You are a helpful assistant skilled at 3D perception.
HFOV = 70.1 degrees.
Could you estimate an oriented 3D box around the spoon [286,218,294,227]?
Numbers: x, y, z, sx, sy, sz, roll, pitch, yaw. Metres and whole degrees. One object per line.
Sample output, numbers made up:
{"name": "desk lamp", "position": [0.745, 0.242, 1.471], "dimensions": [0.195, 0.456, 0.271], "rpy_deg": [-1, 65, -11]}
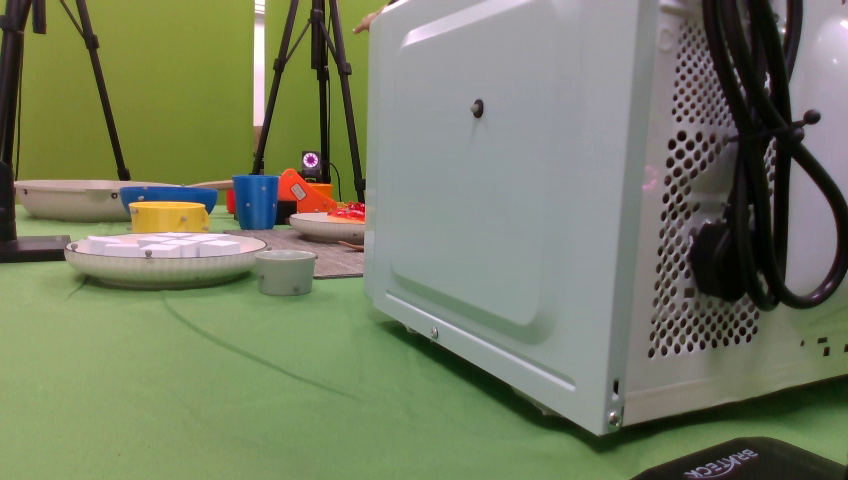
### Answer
{"name": "spoon", "position": [-0.180, -0.037, 1.209], "dimensions": [0.195, 0.021, 0.041], "rpy_deg": [-4, -14, -32]}

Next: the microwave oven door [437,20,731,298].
{"name": "microwave oven door", "position": [0.181, -0.076, 0.618], "dimensions": [0.358, 0.243, 0.039], "rpy_deg": [-2, 9, -28]}

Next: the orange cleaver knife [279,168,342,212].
{"name": "orange cleaver knife", "position": [-0.236, -0.084, 1.332], "dimensions": [0.212, 0.077, 0.012], "rpy_deg": [31, -10, -31]}

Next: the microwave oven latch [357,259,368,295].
{"name": "microwave oven latch", "position": [-0.019, 0.031, 0.529], "dimensions": [0.079, 0.029, 0.030], "rpy_deg": [-1, 7, -26]}

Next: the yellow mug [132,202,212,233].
{"name": "yellow mug", "position": [-0.356, -0.020, 0.878], "dimensions": [0.099, 0.064, 0.131], "rpy_deg": [5, 8, 21]}

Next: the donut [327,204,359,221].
{"name": "donut", "position": [-0.120, -0.037, 1.056], "dimensions": [0.099, 0.048, 0.099], "rpy_deg": [5, 6, 0]}

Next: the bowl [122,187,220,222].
{"name": "bowl", "position": [-0.421, -0.046, 1.012], "dimensions": [0.151, 0.077, 0.151], "rpy_deg": [2, 7, 0]}

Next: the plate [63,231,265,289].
{"name": "plate", "position": [-0.288, 0.021, 0.687], "dimensions": [0.208, 0.039, 0.207], "rpy_deg": [2, 8, 0]}

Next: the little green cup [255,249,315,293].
{"name": "little green cup", "position": [-0.144, 0.031, 0.627], "dimensions": [0.061, 0.038, 0.061], "rpy_deg": [2, 6, 0]}

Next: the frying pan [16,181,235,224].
{"name": "frying pan", "position": [-0.554, -0.097, 1.266], "dimensions": [0.490, 0.102, 0.305], "rpy_deg": [-10, 13, -24]}

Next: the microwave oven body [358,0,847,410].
{"name": "microwave oven body", "position": [0.210, -0.051, 0.471], "dimensions": [0.444, 0.260, 0.324], "rpy_deg": [-1, 7, -28]}

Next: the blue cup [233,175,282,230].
{"name": "blue cup", "position": [-0.314, -0.071, 1.141], "dimensions": [0.093, 0.100, 0.092], "rpy_deg": [0, 7, 0]}

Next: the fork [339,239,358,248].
{"name": "fork", "position": [-0.027, 0.003, 0.925], "dimensions": [0.208, 0.018, 0.028], "rpy_deg": [-2, -2, -19]}

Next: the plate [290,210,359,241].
{"name": "plate", "position": [-0.127, -0.025, 1.051], "dimensions": [0.209, 0.038, 0.209], "rpy_deg": [2, 7, 0]}
